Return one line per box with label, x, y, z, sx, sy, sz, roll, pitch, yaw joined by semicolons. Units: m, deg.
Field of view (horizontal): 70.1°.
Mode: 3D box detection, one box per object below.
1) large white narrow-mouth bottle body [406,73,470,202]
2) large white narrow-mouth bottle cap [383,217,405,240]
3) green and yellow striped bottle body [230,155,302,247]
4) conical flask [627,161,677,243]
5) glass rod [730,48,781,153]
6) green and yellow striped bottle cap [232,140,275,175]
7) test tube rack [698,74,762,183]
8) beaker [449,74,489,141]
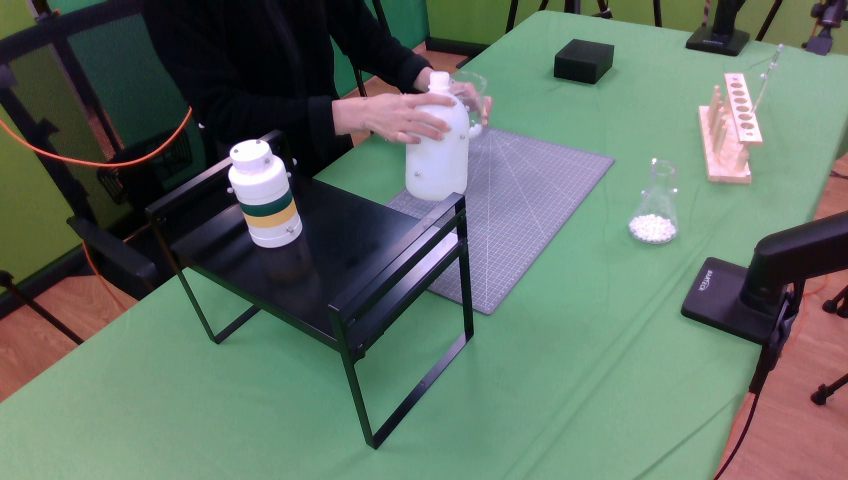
large white narrow-mouth bottle body;0.023;-0.166;0.966;0.102;0.195;0.101;1;23;0
large white narrow-mouth bottle cap;-0.050;-0.019;1.003;0.038;0.024;0.037;-4;39;4
green and yellow striped bottle body;-0.188;-0.055;0.714;0.063;0.120;0.063;-4;41;4
conical flask;0.355;-0.061;0.921;0.075;0.122;0.075;-4;41;4
glass rod;0.554;-0.228;1.015;0.008;0.200;0.008;1;44;-1
green and yellow striped bottle cap;-0.192;-0.093;0.680;0.045;0.020;0.045;-5;39;5
test tube rack;0.547;-0.208;1.095;0.066;0.085;0.242;5;42;15
beaker;0.075;-0.232;1.070;0.084;0.100;0.073;-21;52;-15
